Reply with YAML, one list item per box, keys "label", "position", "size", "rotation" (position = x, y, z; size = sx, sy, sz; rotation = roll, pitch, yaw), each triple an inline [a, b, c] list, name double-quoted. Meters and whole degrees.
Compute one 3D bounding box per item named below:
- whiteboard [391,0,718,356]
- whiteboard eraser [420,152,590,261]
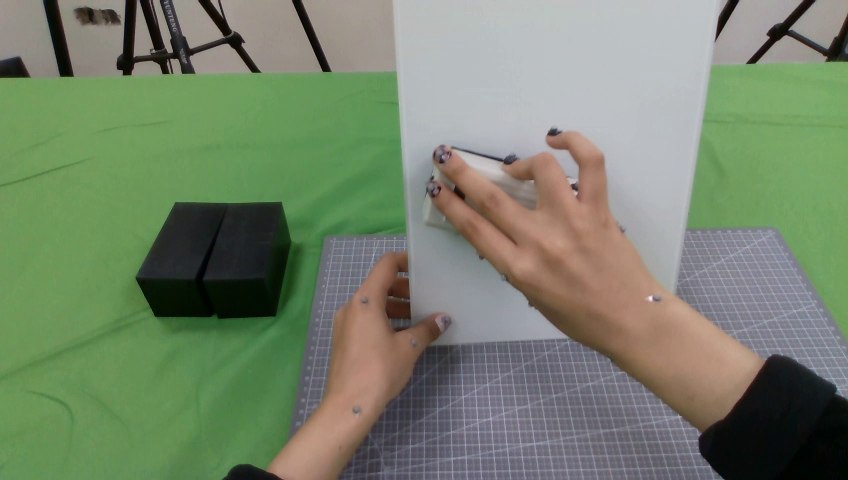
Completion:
- label: "whiteboard"
  position: [0.090, -0.076, 0.503]
  size: [0.217, 0.307, 0.143]
  rotation: [-2, 24, 0]
- label: "whiteboard eraser"
  position: [0.057, -0.025, 0.433]
  size: [0.113, 0.056, 0.041]
  rotation: [13, 25, -4]
